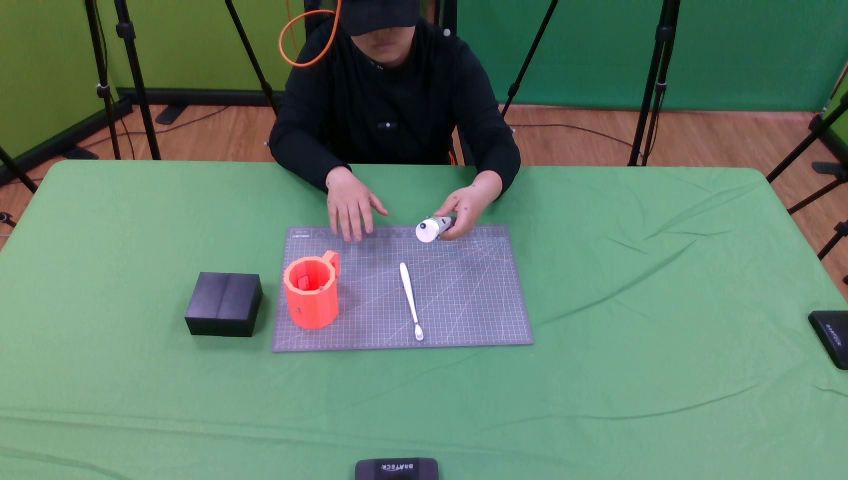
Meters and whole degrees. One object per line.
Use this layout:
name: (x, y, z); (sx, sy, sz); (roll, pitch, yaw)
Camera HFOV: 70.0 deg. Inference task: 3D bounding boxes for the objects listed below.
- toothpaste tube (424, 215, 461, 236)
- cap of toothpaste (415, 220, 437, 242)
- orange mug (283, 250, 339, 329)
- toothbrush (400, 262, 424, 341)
toothpaste tube: (0.025, -0.030, 1.064); (0.055, 0.034, 0.165); (6, 13, 12)
cap of toothpaste: (0.004, -0.016, 0.989); (0.037, 0.037, 0.011); (14, 15, 10)
orange mug: (-0.186, 0.079, 1.052); (0.083, 0.101, 0.126); (20, 52, 15)
toothbrush: (-0.025, 0.106, 1.093); (0.014, 0.017, 0.180); (-18, 46, 2)
